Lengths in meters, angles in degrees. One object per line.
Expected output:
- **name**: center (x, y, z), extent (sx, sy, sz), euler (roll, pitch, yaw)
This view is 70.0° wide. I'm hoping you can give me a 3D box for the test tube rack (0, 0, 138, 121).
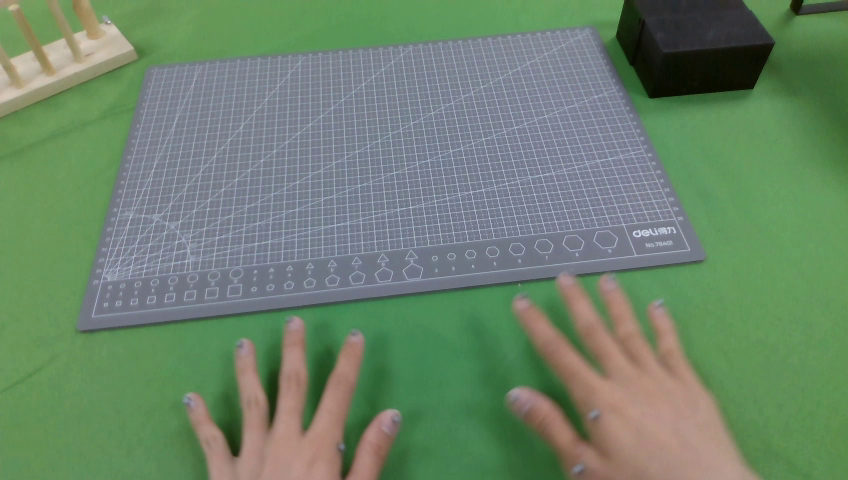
- **test tube rack**: center (-0.404, -0.163, 0.550), extent (0.242, 0.086, 0.066), euler (-33, 58, -21)
